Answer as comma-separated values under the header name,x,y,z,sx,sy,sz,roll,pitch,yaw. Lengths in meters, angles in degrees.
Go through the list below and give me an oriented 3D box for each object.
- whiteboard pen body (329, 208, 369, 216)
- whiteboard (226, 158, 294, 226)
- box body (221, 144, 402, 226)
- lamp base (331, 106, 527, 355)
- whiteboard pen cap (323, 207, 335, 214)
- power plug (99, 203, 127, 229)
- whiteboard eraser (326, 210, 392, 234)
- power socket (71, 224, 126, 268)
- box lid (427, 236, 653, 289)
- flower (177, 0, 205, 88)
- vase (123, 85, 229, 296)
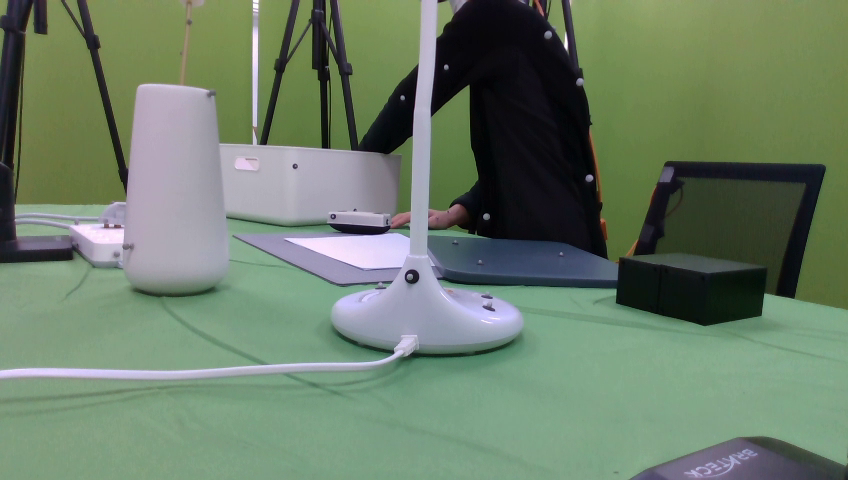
name,x,y,z,sx,sy,sz,roll,pitch,yaw
whiteboard pen body,-0.192,-0.072,1.524,0.140,0.017,0.017,6,8,39
whiteboard,-0.265,-0.117,1.372,0.216,0.143,0.307,4,7,35
box body,-0.254,-0.128,1.379,0.253,0.160,0.366,8,9,36
lamp base,0.006,-0.012,0.478,0.161,0.180,0.179,2,10,2
whiteboard pen cap,-0.242,-0.075,1.550,0.033,0.018,0.018,8,9,39
power plug,-0.415,-0.026,0.848,0.073,0.052,0.035,6,4,-27
whiteboard eraser,-0.121,-0.034,1.131,0.112,0.042,0.056,4,9,13
power socket,-0.409,0.004,0.793,0.072,0.032,0.225,-2,8,-37
box lid,0.139,0.028,0.886,0.264,0.015,0.371,2,7,-6
flower,-0.243,-0.131,0.609,0.044,0.361,0.038,-5,-12,12
vase,-0.244,-0.047,0.598,0.098,0.200,0.098,3,8,0
